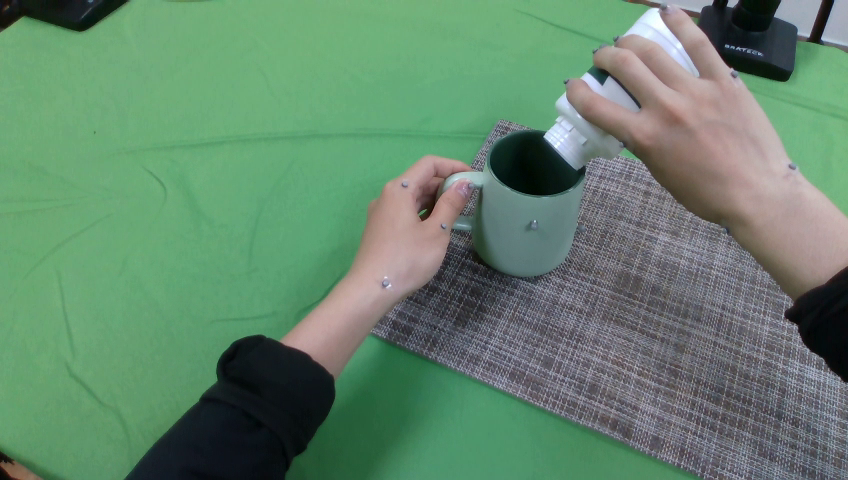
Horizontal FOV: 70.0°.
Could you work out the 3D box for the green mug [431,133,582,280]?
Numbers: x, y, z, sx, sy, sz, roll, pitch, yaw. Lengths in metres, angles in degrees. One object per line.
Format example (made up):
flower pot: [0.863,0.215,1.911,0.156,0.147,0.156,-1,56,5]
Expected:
green mug: [0.069,-0.026,0.519,0.125,0.106,0.091,-1,51,-1]

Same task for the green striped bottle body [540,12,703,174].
green striped bottle body: [0.144,-0.106,0.459,0.119,0.064,0.062,-46,57,12]
